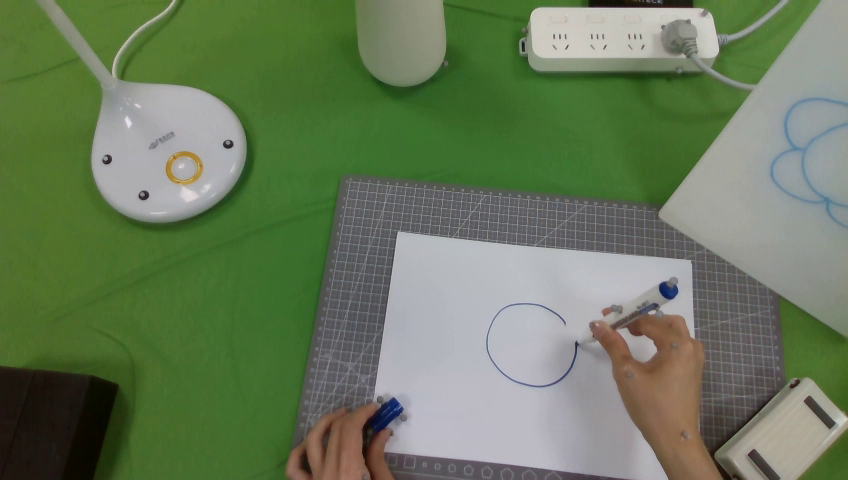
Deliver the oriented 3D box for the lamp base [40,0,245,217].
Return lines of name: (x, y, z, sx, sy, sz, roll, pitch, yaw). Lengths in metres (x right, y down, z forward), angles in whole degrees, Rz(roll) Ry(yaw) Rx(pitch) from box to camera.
lamp base: (-0.282, -0.133, 0.575, 0.178, 0.181, 0.160, 38, 74, 16)

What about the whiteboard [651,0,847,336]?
whiteboard: (0.391, -0.097, 0.527, 0.216, 0.307, 0.143, 36, 53, 13)

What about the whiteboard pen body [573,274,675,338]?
whiteboard pen body: (0.167, 0.062, 0.524, 0.017, 0.141, 0.017, 9, 61, -16)

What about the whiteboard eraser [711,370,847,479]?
whiteboard eraser: (0.311, 0.169, 0.534, 0.112, 0.042, 0.055, -36, 73, -12)

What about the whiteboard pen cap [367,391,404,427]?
whiteboard pen cap: (-0.035, 0.154, 0.553, 0.033, 0.018, 0.018, -39, 74, -16)

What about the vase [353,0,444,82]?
vase: (-0.029, -0.250, 0.608, 0.098, 0.201, 0.097, 0, 69, 2)

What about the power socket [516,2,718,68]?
power socket: (0.221, -0.233, 0.689, 0.227, 0.033, 0.071, 1, 71, 0)

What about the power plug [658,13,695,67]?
power plug: (0.271, -0.212, 0.658, 0.035, 0.053, 0.072, 10, 76, 4)

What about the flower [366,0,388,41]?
flower: (-0.011, -0.269, 0.528, 0.044, 0.361, 0.038, -37, 90, -21)
